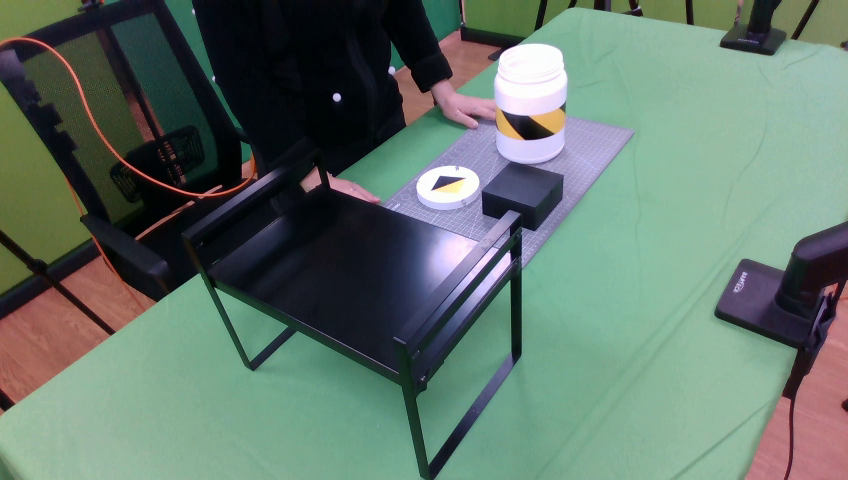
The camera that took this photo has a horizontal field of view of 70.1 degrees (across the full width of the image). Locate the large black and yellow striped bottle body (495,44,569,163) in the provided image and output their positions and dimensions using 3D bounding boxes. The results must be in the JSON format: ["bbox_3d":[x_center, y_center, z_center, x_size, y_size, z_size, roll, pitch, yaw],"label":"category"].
[{"bbox_3d":[0.197,-0.250,1.108,0.131,0.185,0.130,-5,41,4],"label":"large black and yellow striped bottle body"}]

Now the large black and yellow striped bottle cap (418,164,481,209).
[{"bbox_3d":[0.045,-0.098,1.084,0.115,0.019,0.114,-4,42,4],"label":"large black and yellow striped bottle cap"}]
